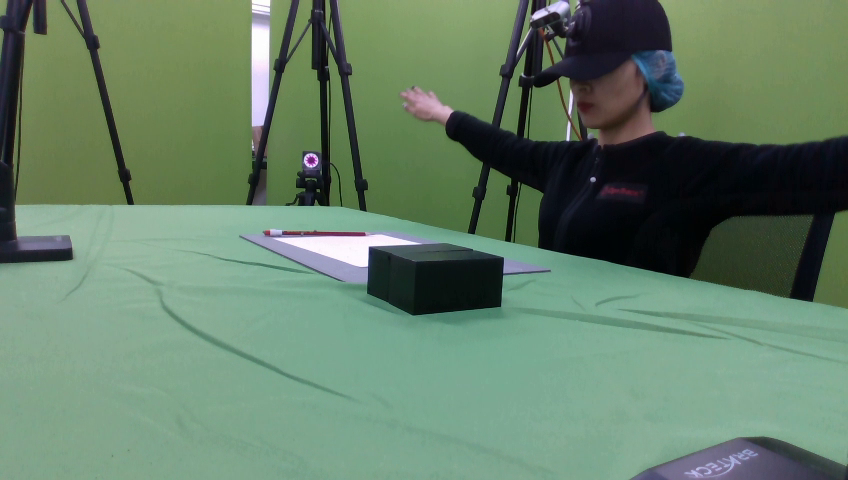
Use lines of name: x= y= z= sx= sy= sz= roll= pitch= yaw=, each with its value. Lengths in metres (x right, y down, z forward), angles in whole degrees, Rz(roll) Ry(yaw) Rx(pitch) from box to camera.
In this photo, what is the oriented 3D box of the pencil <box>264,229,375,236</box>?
pencil: x=-0.180 y=-0.011 z=1.058 sx=0.195 sy=0.012 sz=0.012 roll=1 pitch=7 yaw=-21
